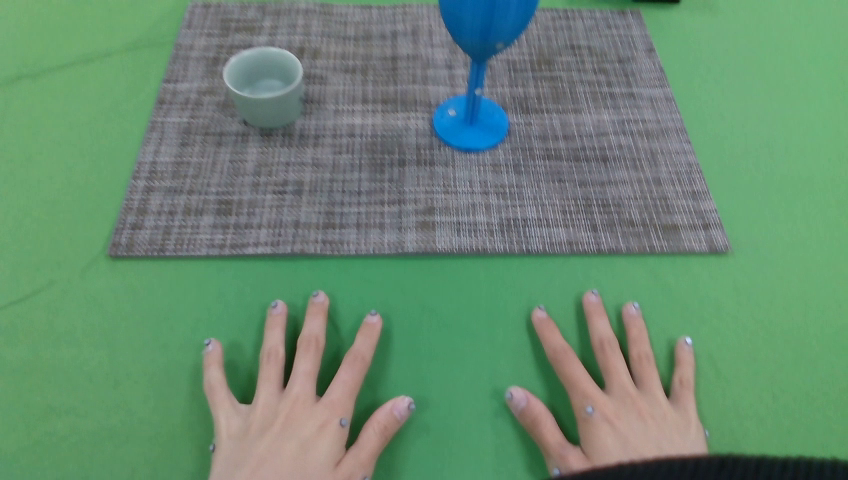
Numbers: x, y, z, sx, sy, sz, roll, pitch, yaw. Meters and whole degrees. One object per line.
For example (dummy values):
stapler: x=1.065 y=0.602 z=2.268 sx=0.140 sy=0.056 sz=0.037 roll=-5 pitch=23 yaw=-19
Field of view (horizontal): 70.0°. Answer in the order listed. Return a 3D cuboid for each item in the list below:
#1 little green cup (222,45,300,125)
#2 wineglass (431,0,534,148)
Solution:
little green cup: x=-0.131 y=-0.126 z=0.496 sx=0.061 sy=0.039 sz=0.061 roll=1 pitch=55 yaw=-2
wineglass: x=0.040 y=-0.151 z=0.441 sx=0.074 sy=0.173 sz=0.073 roll=1 pitch=55 yaw=-1
